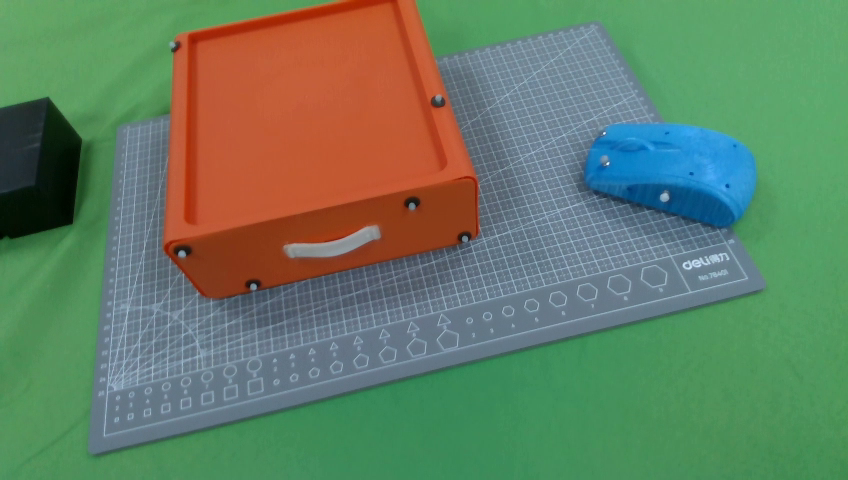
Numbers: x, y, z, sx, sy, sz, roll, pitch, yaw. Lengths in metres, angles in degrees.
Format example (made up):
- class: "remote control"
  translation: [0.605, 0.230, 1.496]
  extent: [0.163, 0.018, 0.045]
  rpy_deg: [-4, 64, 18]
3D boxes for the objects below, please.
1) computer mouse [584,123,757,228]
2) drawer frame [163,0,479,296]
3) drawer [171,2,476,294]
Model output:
- class: "computer mouse"
  translation: [0.178, -0.053, 0.441]
  extent: [0.116, 0.041, 0.062]
  rpy_deg: [18, 62, 22]
- class: "drawer frame"
  translation: [-0.080, -0.081, 0.459]
  extent: [0.202, 0.083, 0.211]
  rpy_deg: [-13, 55, -2]
- class: "drawer"
  translation: [-0.079, -0.079, 0.458]
  extent: [0.194, 0.074, 0.209]
  rpy_deg: [-13, 56, -2]
